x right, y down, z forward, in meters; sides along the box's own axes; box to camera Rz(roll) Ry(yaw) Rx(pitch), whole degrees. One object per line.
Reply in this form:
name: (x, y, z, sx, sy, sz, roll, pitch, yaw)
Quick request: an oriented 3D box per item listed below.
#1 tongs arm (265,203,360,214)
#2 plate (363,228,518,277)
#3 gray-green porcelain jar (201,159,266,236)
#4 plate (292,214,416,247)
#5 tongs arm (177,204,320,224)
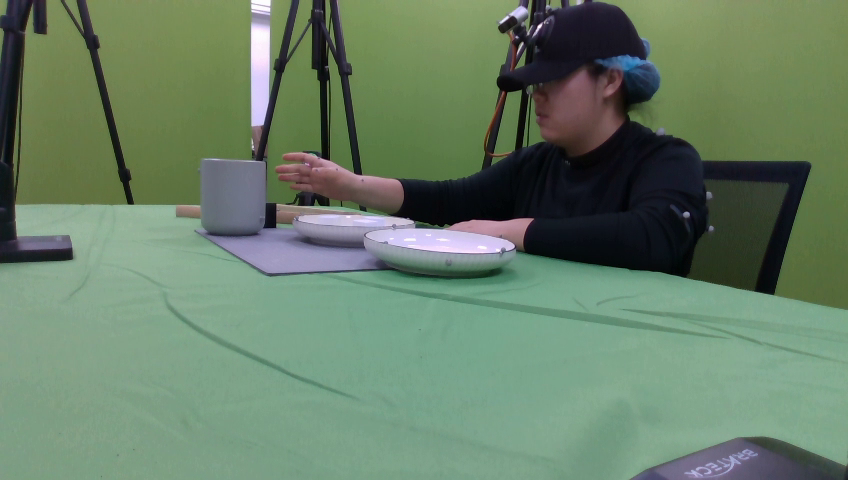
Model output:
tongs arm: (-0.312, -0.064, 1.353, 0.384, 0.026, 0.051, 6, 8, 17)
plate: (0.022, 0.016, 0.817, 0.209, 0.038, 0.209, 4, 9, 0)
gray-green porcelain jar: (-0.326, -0.073, 1.036, 0.106, 0.126, 0.106, 3, 8, 0)
plate: (-0.118, -0.017, 1.024, 0.208, 0.039, 0.207, 2, 8, 0)
tongs arm: (-0.332, -0.052, 1.273, 0.387, 0.028, 0.028, 4, 5, 4)
